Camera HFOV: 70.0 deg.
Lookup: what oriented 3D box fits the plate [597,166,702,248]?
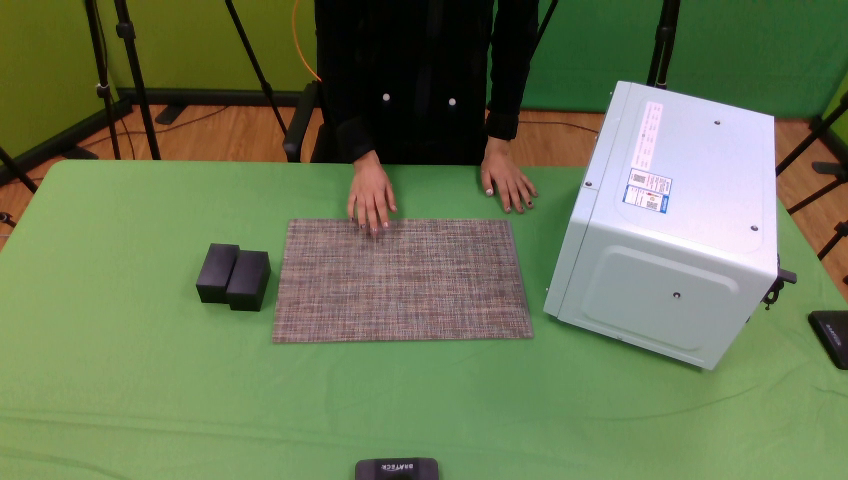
[{"bbox_3d":[0.432,-0.061,1.175,0.209,0.038,0.208,8,47,-9],"label":"plate"}]

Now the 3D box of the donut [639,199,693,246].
[{"bbox_3d":[0.463,-0.034,1.159,0.099,0.048,0.098,0,62,1],"label":"donut"}]

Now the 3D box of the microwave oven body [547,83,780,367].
[{"bbox_3d":[0.445,-0.041,1.100,0.325,0.261,0.440,17,47,13],"label":"microwave oven body"}]

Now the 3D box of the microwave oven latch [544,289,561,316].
[{"bbox_3d":[0.237,0.098,1.087,0.030,0.029,0.079,17,47,14],"label":"microwave oven latch"}]

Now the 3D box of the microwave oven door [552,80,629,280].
[{"bbox_3d":[0.324,-0.116,1.156,0.039,0.245,0.354,18,48,13],"label":"microwave oven door"}]
